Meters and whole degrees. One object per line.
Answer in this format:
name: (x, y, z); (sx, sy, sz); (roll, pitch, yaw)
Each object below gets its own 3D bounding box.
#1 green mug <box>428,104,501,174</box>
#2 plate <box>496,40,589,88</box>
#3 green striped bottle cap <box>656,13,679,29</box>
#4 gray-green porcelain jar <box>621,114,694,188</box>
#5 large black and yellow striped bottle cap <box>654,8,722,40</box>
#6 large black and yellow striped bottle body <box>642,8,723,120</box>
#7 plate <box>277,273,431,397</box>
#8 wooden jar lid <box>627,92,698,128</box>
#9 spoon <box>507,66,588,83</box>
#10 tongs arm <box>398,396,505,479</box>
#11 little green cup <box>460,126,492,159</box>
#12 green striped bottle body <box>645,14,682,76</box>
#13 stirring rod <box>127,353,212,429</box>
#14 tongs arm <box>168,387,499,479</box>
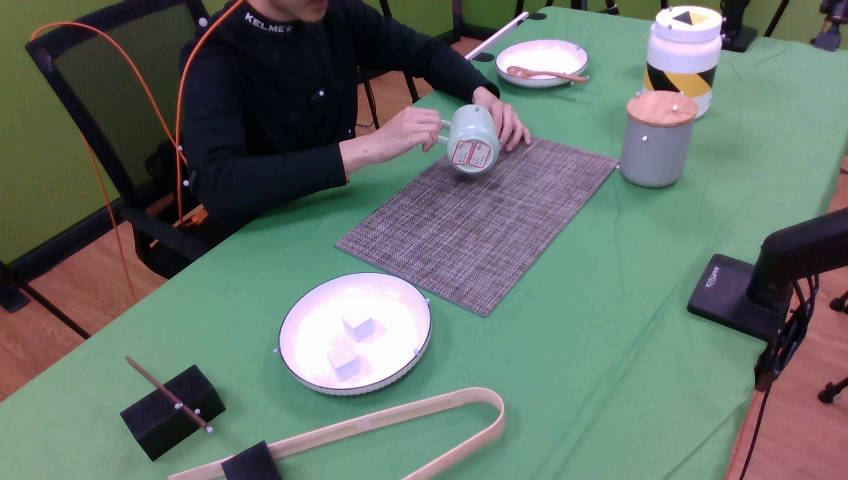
green mug: (0.069, -0.180, 1.051); (0.126, 0.092, 0.104); (10, 40, -9)
plate: (0.269, -0.398, 1.381); (0.209, 0.038, 0.208); (-4, 41, 4)
green striped bottle cap: (0.515, -0.463, 1.278); (0.044, 0.020, 0.044); (-6, 42, 6)
gray-green porcelain jar: (0.390, -0.161, 1.020); (0.106, 0.127, 0.105); (-4, 41, 4)
large black and yellow striped bottle cap: (0.483, -0.397, 1.108); (0.115, 0.019, 0.114); (-3, 41, 3)
large black and yellow striped bottle body: (0.493, -0.334, 1.161); (0.131, 0.185, 0.130); (-4, 41, 4)
plate: (-0.091, 0.129, 0.821); (0.207, 0.039, 0.206); (-4, 40, 4)
wooden jar lid: (0.384, -0.207, 0.980); (0.108, 0.021, 0.108); (-6, 39, 5)
spoon: (0.265, -0.357, 1.311); (0.192, 0.022, 0.042); (18, 47, 38)
tongs arm: (-0.071, 0.272, 0.652); (0.386, 0.026, 0.050); (-21, 37, -17)
little green cup: (0.099, -0.185, 1.150); (0.061, 0.039, 0.061); (-3, 48, 3)
green striped bottle body: (0.520, -0.424, 1.312); (0.063, 0.120, 0.063); (-4, 40, 4)
stirring rod: (-0.311, 0.180, 0.731); (0.175, 0.014, 0.006); (25, 53, 31)
tongs arm: (-0.100, 0.230, 0.711); (0.388, 0.028, 0.028); (-13, 32, -7)
